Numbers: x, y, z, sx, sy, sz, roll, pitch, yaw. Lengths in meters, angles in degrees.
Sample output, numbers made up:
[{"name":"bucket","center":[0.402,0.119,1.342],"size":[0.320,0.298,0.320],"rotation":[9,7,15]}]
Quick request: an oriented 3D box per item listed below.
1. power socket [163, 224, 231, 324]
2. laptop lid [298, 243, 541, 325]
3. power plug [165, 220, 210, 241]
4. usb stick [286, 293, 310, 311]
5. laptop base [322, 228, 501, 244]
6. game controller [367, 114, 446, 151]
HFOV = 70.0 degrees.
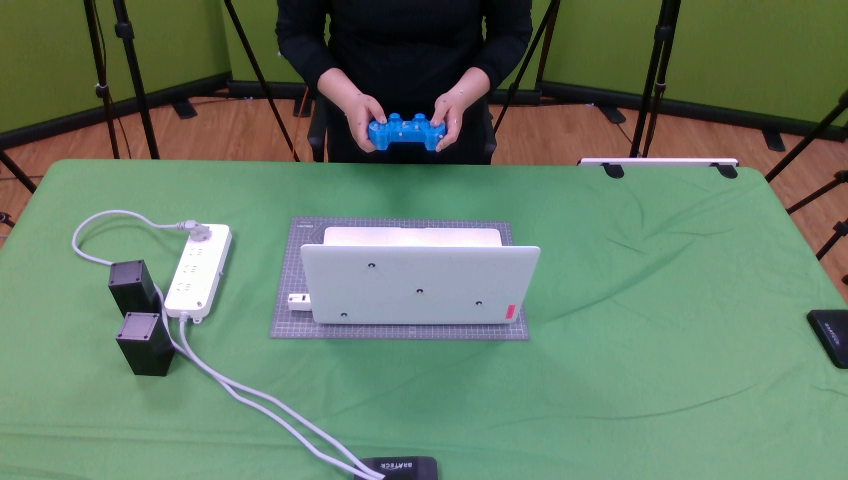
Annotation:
[{"name":"power socket","center":[-0.411,0.052,1.107],"size":[0.072,0.033,0.225],"rotation":[3,46,-3]},{"name":"laptop lid","center":[-0.010,0.076,0.958],"size":[0.357,0.243,0.013],"rotation":[1,53,-5]},{"name":"power plug","center":[-0.440,-0.015,1.143],"size":[0.072,0.053,0.035],"rotation":[7,46,8]},{"name":"usb stick","center":[-0.210,0.109,1.059],"size":[0.059,0.027,0.021],"rotation":[4,45,-6]},{"name":"laptop base","center":[-0.020,0.063,1.136],"size":[0.355,0.023,0.234],"rotation":[0,43,-4]},{"name":"game controller","center":[-0.034,-0.209,1.152],"size":[0.155,0.052,0.096],"rotation":[0,37,-1]}]
